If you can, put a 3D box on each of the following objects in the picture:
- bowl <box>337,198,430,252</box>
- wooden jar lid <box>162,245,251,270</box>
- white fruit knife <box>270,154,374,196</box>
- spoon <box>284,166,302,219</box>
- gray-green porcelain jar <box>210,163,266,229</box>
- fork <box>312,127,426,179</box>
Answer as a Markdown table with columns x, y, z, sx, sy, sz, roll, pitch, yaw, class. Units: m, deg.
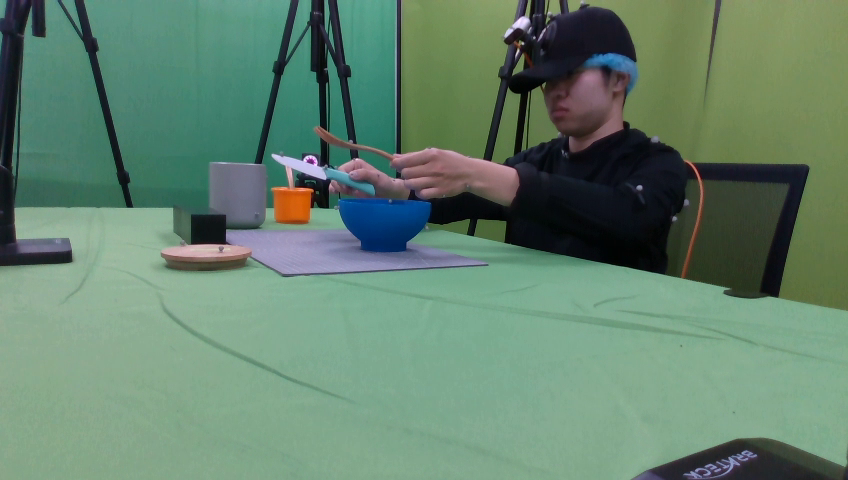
| x | y | z | sx | sy | sz | roll | pitch | yaw | class |
| --- | --- | --- | --- | --- | --- | --- | --- | --- | --- |
| -0.066 | -0.024 | 0.967 | 0.151 | 0.077 | 0.151 | 3 | 7 | 0 | bowl |
| -0.278 | 0.022 | 0.777 | 0.108 | 0.020 | 0.108 | 2 | 6 | 0 | wooden jar lid |
| -0.176 | -0.118 | 1.073 | 0.208 | 0.027 | 0.016 | 16 | -27 | -37 | white fruit knife |
| -0.302 | -0.118 | 1.370 | 0.042 | 0.193 | 0.021 | 4 | -39 | -24 | spoon |
| -0.367 | -0.088 | 1.195 | 0.106 | 0.126 | 0.106 | 3 | 8 | 0 | gray-green porcelain jar |
| -0.081 | -0.135 | 0.951 | 0.208 | 0.018 | 0.028 | 16 | -15 | -32 | fork |
